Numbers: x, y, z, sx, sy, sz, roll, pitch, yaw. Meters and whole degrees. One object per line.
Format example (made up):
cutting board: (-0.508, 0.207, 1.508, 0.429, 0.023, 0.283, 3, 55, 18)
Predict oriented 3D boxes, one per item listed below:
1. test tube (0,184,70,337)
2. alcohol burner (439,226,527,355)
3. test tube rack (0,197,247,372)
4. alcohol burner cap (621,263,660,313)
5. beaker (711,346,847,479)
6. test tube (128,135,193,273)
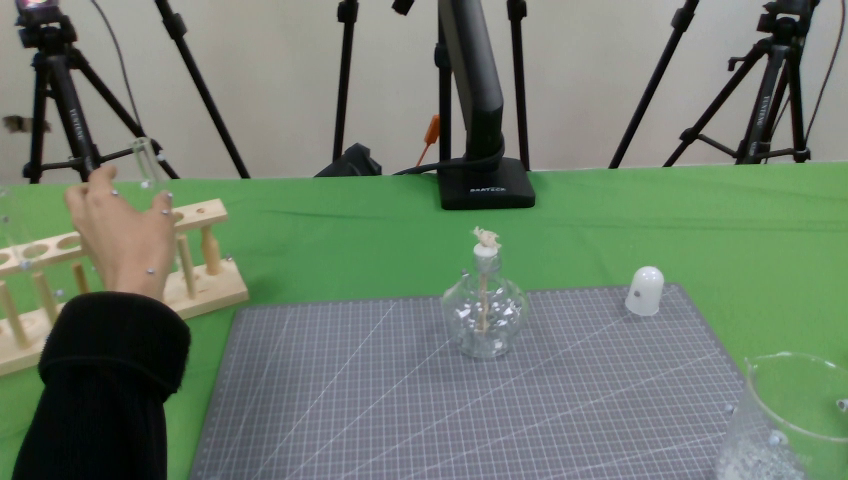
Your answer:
test tube: (-0.329, 0.021, 0.507, 0.017, 0.152, 0.017, -1, 33, 1)
alcohol burner: (0.052, 0.041, 0.529, 0.078, 0.120, 0.077, -1, 33, 1)
test tube rack: (-0.299, 0.038, 0.561, 0.243, 0.086, 0.066, -17, 38, -23)
alcohol burner cap: (0.212, 0.044, 0.589, 0.034, 0.048, 0.033, 0, 34, 0)
beaker: (0.239, 0.132, 0.408, 0.074, 0.101, 0.083, -20, 38, -27)
test tube: (-0.246, -0.029, 0.572, 0.017, 0.151, 0.017, -3, 37, 2)
